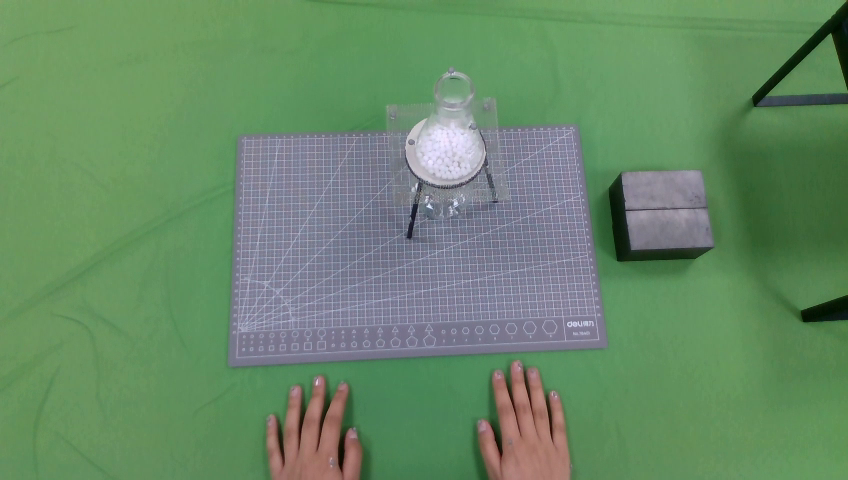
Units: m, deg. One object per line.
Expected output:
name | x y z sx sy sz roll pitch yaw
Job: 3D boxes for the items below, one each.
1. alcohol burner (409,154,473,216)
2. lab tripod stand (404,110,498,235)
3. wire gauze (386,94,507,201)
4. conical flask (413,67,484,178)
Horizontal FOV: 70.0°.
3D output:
alcohol burner | 0.021 -0.073 0.721 0.078 0.119 0.077 0 74 1
lab tripod stand | 0.019 -0.084 0.714 0.148 0.132 0.147 0 73 0
wire gauze | 0.023 -0.099 0.650 0.125 0.011 0.121 -2 75 -5
conical flask | 0.026 -0.117 0.593 0.075 0.122 0.075 0 71 -1
